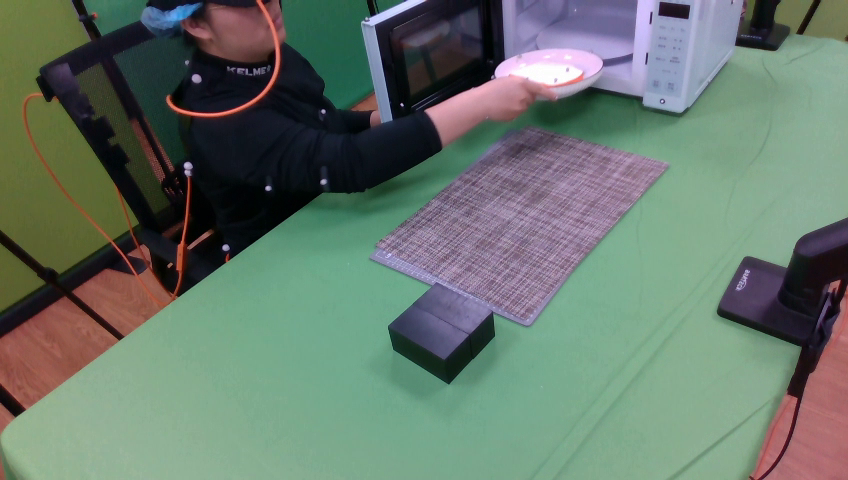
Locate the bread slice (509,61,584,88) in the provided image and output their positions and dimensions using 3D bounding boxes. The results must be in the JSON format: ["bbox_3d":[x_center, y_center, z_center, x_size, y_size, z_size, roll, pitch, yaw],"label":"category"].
[{"bbox_3d":[0.246,-0.318,1.180,0.105,0.019,0.130,-27,37,-22],"label":"bread slice"}]

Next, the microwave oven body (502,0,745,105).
[{"bbox_3d":[0.416,-0.486,1.290,0.438,0.261,0.327,21,50,33],"label":"microwave oven body"}]

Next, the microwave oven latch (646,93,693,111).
[{"bbox_3d":[0.477,-0.273,1.177,0.078,0.029,0.030,22,50,33],"label":"microwave oven latch"}]

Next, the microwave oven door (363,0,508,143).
[{"bbox_3d":[0.040,-0.386,1.238,0.357,0.245,0.039,-36,47,-28],"label":"microwave oven door"}]

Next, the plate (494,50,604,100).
[{"bbox_3d":[0.243,-0.318,1.177,0.209,0.038,0.208,-6,34,5],"label":"plate"}]
